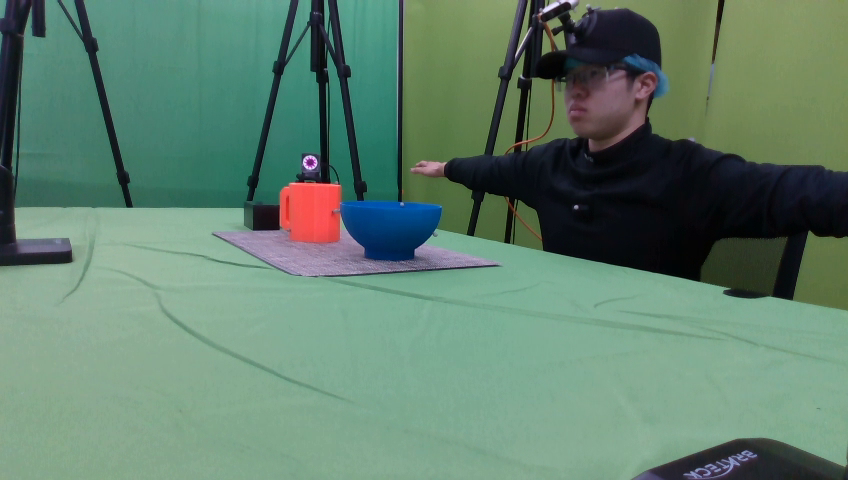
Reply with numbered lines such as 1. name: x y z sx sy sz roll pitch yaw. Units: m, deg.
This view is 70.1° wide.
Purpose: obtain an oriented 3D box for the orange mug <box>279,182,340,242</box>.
1. orange mug: -0.202 -0.052 1.042 0.125 0.100 0.084 12 11 34

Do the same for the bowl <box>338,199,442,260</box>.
1. bowl: -0.050 -0.015 0.878 0.151 0.077 0.151 2 8 0
